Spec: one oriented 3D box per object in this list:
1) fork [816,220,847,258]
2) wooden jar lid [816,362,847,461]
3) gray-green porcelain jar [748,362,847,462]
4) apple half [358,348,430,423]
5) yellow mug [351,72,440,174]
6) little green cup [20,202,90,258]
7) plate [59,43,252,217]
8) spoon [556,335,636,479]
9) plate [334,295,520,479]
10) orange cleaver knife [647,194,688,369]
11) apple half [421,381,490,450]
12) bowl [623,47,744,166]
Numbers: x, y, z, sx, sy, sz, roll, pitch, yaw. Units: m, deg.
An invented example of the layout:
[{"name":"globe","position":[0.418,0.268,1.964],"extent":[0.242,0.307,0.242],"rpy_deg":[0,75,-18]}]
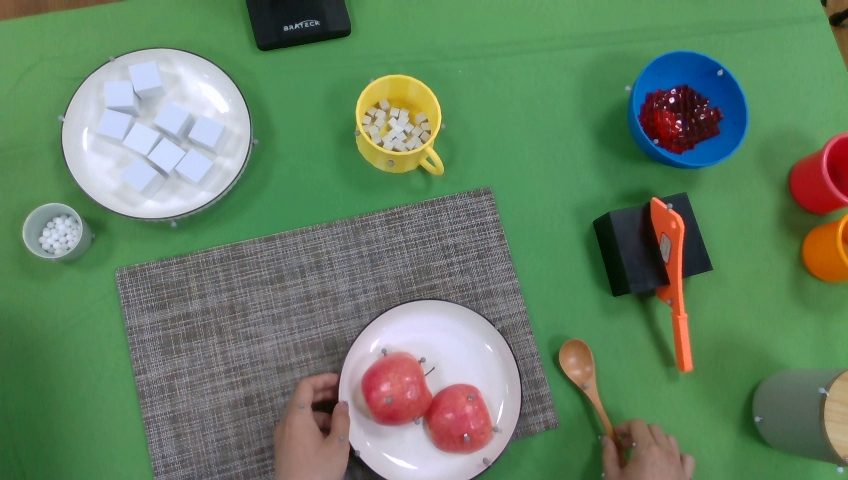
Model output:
[{"name":"fork","position":[0.537,0.040,0.728],"extent":[0.028,0.019,0.205],"rpy_deg":[3,36,-8]},{"name":"wooden jar lid","position":[0.459,0.182,0.640],"extent":[0.108,0.021,0.108],"rpy_deg":[1,82,-8]},{"name":"gray-green porcelain jar","position":[0.453,0.195,0.700],"extent":[0.106,0.127,0.105],"rpy_deg":[1,79,-7]},{"name":"apple half","position":[-0.034,0.162,0.668],"extent":[0.075,0.053,0.080],"rpy_deg":[-17,82,-7]},{"name":"yellow mug","position":[-0.026,-0.130,0.728],"extent":[0.100,0.064,0.131],"rpy_deg":[-43,88,-13]},{"name":"little green cup","position":[-0.403,-0.008,0.667],"extent":[0.062,0.038,0.061],"rpy_deg":[2,80,-9]},{"name":"plate","position":[-0.305,-0.125,0.704],"extent":[0.208,0.039,0.206],"rpy_deg":[1,79,-7]},{"name":"spoon","position":[0.207,0.204,0.718],"extent":[0.042,0.022,0.193],"rpy_deg":[-21,80,-20]},{"name":"plate","position":[0.003,0.167,0.687],"extent":[0.209,0.038,0.208],"rpy_deg":[1,80,-8]},{"name":"orange cleaver knife","position":[0.291,0.050,0.728],"extent":[0.012,0.076,0.212],"rpy_deg":[-12,105,-6]},{"name":"apple half","position":[0.037,0.199,0.679],"extent":[0.081,0.033,0.081],"rpy_deg":[2,76,-6]},{"name":"bowl","position":[0.314,-0.158,0.772],"extent":[0.152,0.077,0.151],"rpy_deg":[1,80,-7]}]
